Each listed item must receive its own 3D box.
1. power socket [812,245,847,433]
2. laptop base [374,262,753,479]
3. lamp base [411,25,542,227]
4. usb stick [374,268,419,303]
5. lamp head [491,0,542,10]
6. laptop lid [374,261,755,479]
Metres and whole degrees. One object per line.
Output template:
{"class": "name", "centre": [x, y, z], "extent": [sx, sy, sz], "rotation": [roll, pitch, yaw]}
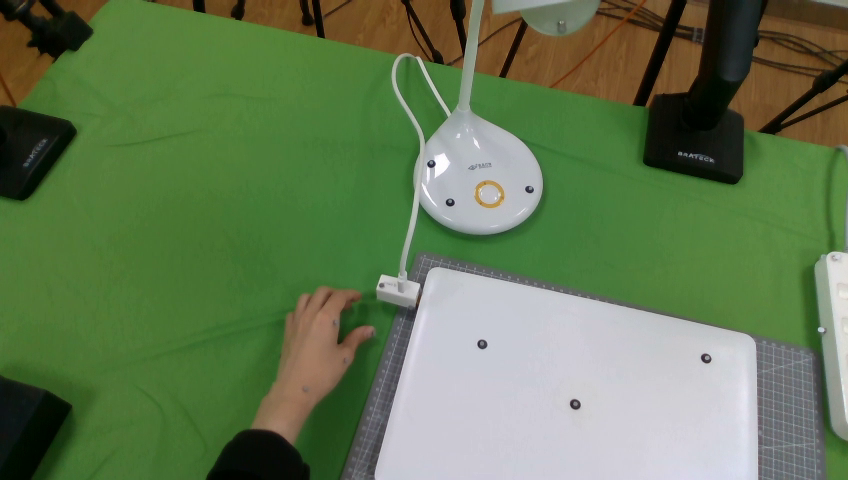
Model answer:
{"class": "power socket", "centre": [0.462, 0.103, 0.642], "extent": [0.072, 0.033, 0.225], "rotation": [12, 61, 4]}
{"class": "laptop base", "centre": [0.148, 0.160, 0.610], "extent": [0.354, 0.023, 0.234], "rotation": [12, 64, 5]}
{"class": "lamp base", "centre": [0.060, -0.133, 0.682], "extent": [0.161, 0.182, 0.177], "rotation": [-21, 60, -13]}
{"class": "usb stick", "centre": [-0.023, 0.051, 0.654], "extent": [0.059, 0.027, 0.021], "rotation": [17, 56, 4]}
{"class": "lamp head", "centre": [0.093, -0.227, 0.415], "extent": [0.112, 0.111, 0.123], "rotation": [-14, 105, -8]}
{"class": "laptop lid", "centre": [0.147, 0.156, 0.599], "extent": [0.356, 0.013, 0.240], "rotation": [13, 64, 6]}
